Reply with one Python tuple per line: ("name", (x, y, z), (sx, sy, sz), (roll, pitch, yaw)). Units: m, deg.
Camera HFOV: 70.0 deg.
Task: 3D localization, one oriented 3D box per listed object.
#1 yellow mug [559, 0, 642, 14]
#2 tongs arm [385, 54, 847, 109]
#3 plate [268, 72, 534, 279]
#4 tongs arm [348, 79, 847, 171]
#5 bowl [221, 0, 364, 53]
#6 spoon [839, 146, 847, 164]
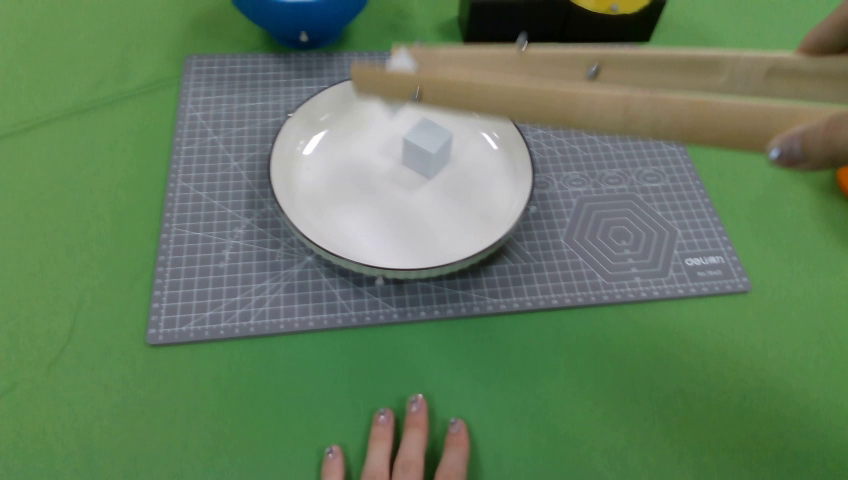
("yellow mug", (0.159, -0.271, 0.579), (0.131, 0.064, 0.099), (-18, 59, -15))
("tongs arm", (0.110, -0.086, 0.345), (0.382, 0.027, 0.050), (13, 43, 37))
("plate", (-0.017, -0.053, 0.490), (0.208, 0.039, 0.205), (2, 56, -3))
("tongs arm", (0.093, -0.069, 0.330), (0.384, 0.028, 0.028), (15, 42, 39))
("bowl", (-0.124, -0.236, 0.585), (0.151, 0.077, 0.150), (2, 55, -3))
("spoon", (0.423, -0.064, 0.471), (0.041, 0.192, 0.022), (-24, 104, -16))
